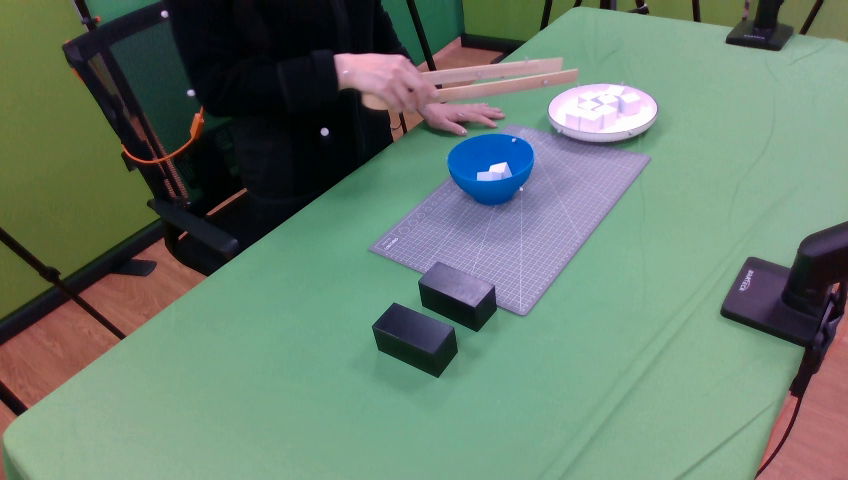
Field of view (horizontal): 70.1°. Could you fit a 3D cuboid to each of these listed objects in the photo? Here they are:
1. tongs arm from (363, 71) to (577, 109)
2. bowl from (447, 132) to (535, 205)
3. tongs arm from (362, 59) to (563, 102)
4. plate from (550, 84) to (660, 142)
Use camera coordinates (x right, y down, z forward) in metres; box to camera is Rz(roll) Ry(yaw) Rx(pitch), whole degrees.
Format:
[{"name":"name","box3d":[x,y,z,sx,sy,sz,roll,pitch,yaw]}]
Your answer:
[{"name":"tongs arm","box3d":[0.089,-0.257,1.028,0.389,0.028,0.028,-11,50,-16]},{"name":"bowl","box3d":[0.119,-0.115,1.051,0.151,0.077,0.150,-5,40,5]},{"name":"tongs arm","box3d":[0.078,-0.278,1.050,0.386,0.026,0.050,-9,46,-15]},{"name":"plate","box3d":[0.355,-0.246,1.195,0.207,0.039,0.206,-5,39,5]}]
